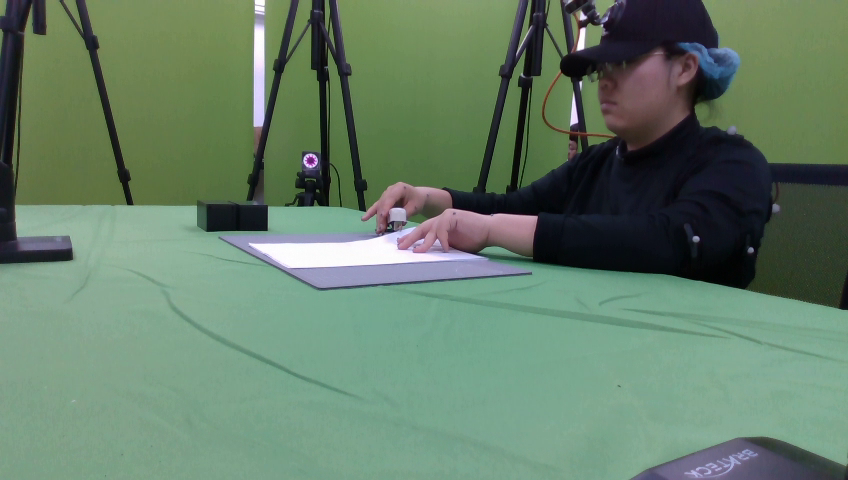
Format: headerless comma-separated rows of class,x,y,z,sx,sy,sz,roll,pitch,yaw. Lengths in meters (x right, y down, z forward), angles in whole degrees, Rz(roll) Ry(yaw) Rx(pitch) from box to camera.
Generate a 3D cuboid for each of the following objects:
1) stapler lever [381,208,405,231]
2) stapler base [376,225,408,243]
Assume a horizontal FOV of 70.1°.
stapler lever,-0.057,-0.039,1.083,0.027,0.040,0.118,4,5,-13
stapler base,-0.057,-0.013,1.085,0.041,0.024,0.130,4,5,-13
